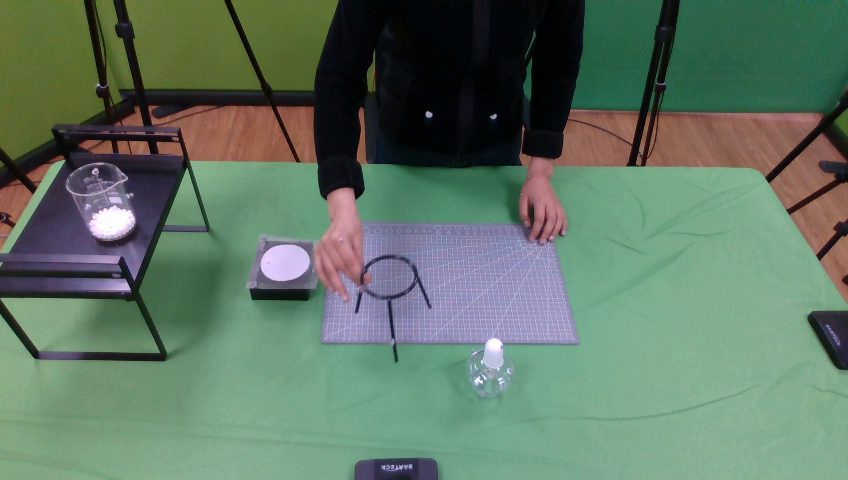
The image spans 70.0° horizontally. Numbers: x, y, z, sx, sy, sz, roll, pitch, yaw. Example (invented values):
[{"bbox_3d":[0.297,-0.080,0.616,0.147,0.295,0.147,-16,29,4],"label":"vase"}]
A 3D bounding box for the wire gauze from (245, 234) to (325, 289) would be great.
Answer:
[{"bbox_3d":[-0.245,0.038,1.081,0.121,0.011,0.124,5,47,-3],"label":"wire gauze"}]

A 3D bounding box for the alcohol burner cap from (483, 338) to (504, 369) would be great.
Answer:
[{"bbox_3d":[0.108,0.170,0.927,0.034,0.048,0.033,-1,41,1],"label":"alcohol burner cap"}]

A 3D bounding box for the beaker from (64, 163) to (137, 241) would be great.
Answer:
[{"bbox_3d":[-0.478,-0.055,0.910,0.084,0.101,0.073,-9,48,-13],"label":"beaker"}]

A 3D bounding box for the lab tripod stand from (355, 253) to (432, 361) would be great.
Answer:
[{"bbox_3d":[-0.054,0.096,0.960,0.148,0.132,0.147,-2,46,3],"label":"lab tripod stand"}]

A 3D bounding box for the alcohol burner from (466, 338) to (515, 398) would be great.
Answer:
[{"bbox_3d":[0.106,0.195,0.952,0.078,0.120,0.077,0,45,0],"label":"alcohol burner"}]
